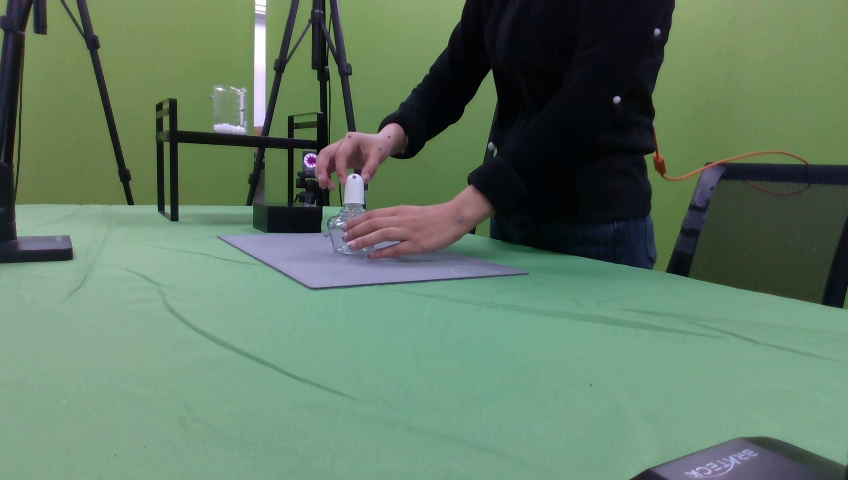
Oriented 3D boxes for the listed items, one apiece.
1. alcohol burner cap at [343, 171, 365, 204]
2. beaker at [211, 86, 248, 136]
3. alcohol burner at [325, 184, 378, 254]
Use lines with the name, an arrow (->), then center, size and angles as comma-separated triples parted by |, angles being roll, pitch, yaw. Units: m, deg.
alcohol burner cap -> -0.102, -0.077, 0.893 | 0.034, 0.048, 0.034 | 5, 8, 0
beaker -> -0.413, -0.274, 1.297 | 0.074, 0.100, 0.083 | -5, 11, -44
alcohol burner -> -0.107, -0.040, 0.895 | 0.078, 0.119, 0.078 | 2, 5, 0
